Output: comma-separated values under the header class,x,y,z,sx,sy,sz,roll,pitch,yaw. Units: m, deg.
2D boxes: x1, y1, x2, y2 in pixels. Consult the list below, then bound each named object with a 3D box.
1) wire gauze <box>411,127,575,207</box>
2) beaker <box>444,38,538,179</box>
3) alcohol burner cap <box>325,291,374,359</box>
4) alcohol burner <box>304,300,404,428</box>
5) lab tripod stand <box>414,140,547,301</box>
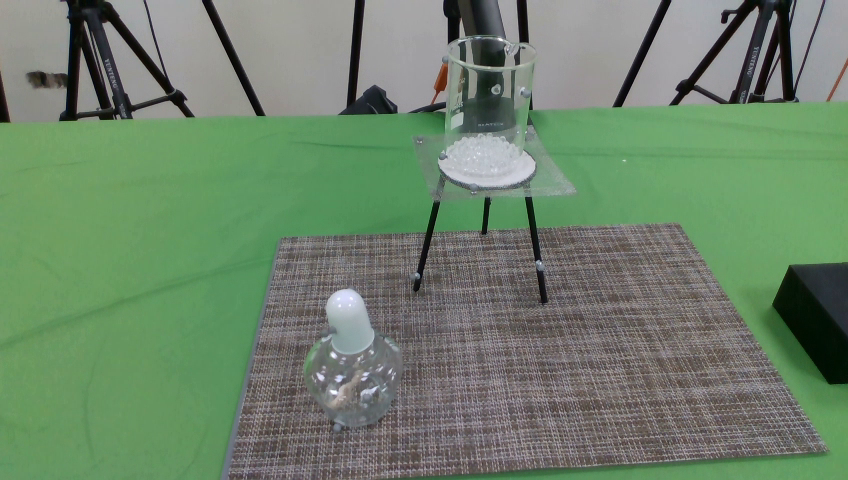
class,x,y,z,sx,sy,sz,roll,pitch,yaw
wire gauze,0.057,-0.067,0.538,0.125,0.011,0.120,-2,39,-9
beaker,0.055,-0.111,0.515,0.073,0.101,0.084,21,41,23
alcohol burner cap,-0.056,0.058,0.438,0.034,0.048,0.033,-5,35,4
alcohol burner,-0.054,0.087,0.460,0.078,0.120,0.077,1,39,0
lab tripod stand,0.061,-0.018,0.582,0.148,0.132,0.147,1,37,-1
